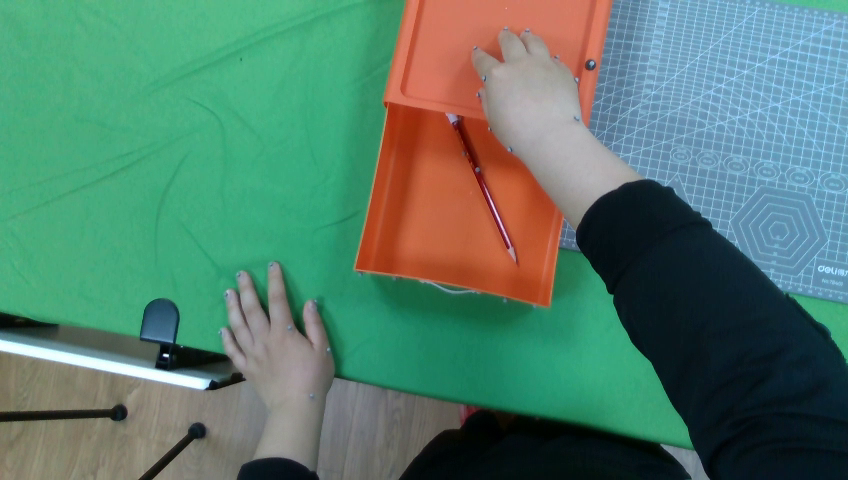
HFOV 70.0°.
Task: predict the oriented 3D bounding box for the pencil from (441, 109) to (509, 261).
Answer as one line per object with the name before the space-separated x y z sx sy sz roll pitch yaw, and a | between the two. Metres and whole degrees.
pencil | 0.053 -0.067 0.639 0.012 0.012 0.193 -22 86 3

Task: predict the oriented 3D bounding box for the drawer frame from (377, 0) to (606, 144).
drawer frame | 0.074 -0.215 0.618 0.201 0.083 0.213 11 86 6

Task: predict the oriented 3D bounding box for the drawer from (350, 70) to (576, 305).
drawer | 0.043 -0.053 0.613 0.194 0.073 0.211 10 89 7
